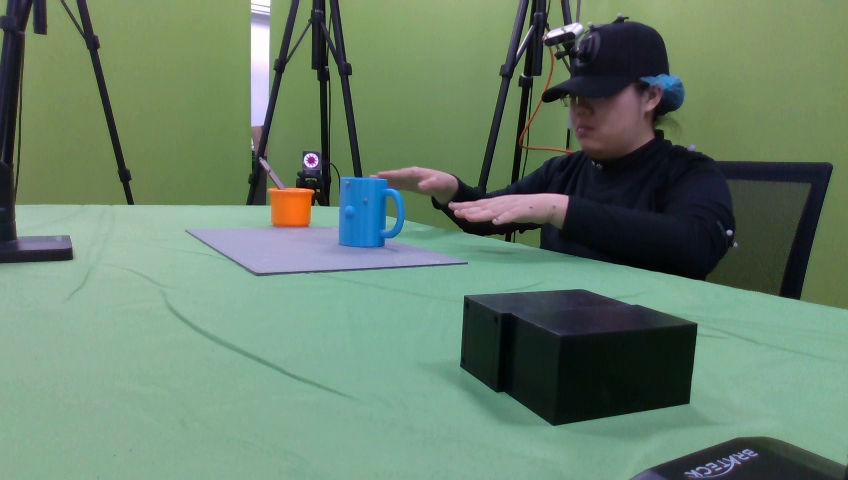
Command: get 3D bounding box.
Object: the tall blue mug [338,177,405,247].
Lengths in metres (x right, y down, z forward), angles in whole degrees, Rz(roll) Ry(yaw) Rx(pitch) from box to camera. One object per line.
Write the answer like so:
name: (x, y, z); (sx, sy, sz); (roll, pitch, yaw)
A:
tall blue mug: (-0.083, -0.046, 0.977); (0.107, 0.108, 0.078); (2, 7, -1)

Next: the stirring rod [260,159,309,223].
stirring rod: (-0.286, -0.101, 1.235); (0.014, 0.006, 0.175); (-16, 63, -52)
